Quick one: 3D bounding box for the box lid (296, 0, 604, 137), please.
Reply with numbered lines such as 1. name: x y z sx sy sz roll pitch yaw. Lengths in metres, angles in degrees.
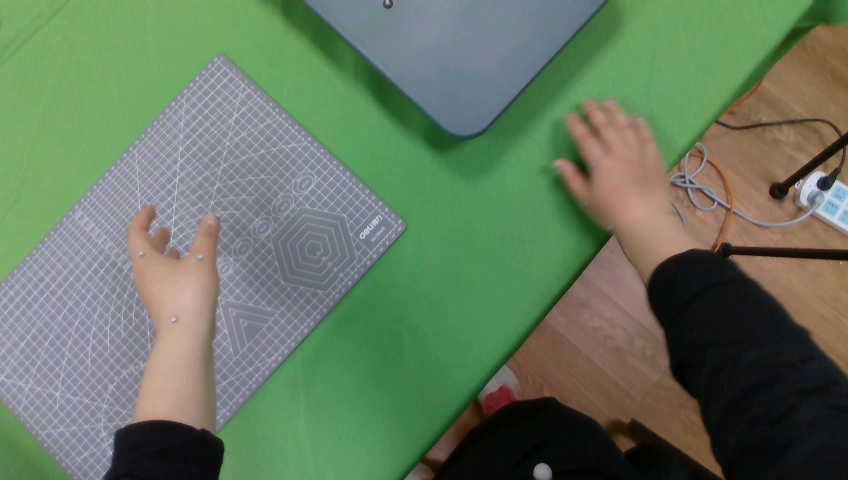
1. box lid: -0.004 -0.313 0.648 0.370 0.015 0.263 42 88 7
